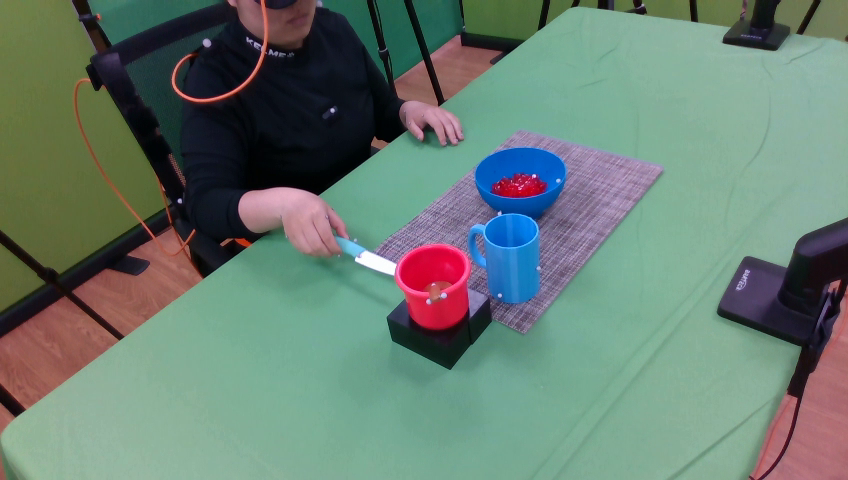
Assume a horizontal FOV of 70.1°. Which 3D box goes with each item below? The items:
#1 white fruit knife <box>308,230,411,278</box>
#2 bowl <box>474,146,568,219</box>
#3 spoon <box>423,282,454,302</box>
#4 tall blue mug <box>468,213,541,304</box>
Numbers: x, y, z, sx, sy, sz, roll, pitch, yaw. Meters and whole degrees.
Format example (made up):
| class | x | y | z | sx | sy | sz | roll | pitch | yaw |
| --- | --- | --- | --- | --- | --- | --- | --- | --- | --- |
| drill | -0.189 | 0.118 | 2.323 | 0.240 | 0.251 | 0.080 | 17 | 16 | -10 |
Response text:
| class | x | y | z | sx | sy | sz | roll | pitch | yaw |
| --- | --- | --- | --- | --- | --- | --- | --- | --- | --- |
| white fruit knife | -0.101 | 0.021 | 0.931 | 0.206 | 0.016 | 0.027 | 21 | 75 | 32 |
| bowl | 0.161 | -0.083 | 1.001 | 0.151 | 0.077 | 0.150 | -5 | 40 | 5 |
| spoon | 0.015 | 0.062 | 0.733 | 0.041 | 0.021 | 0.194 | -5 | -4 | 3 |
| tall blue mug | 0.111 | 0.026 | 0.856 | 0.107 | 0.108 | 0.077 | 2 | 42 | 13 |
